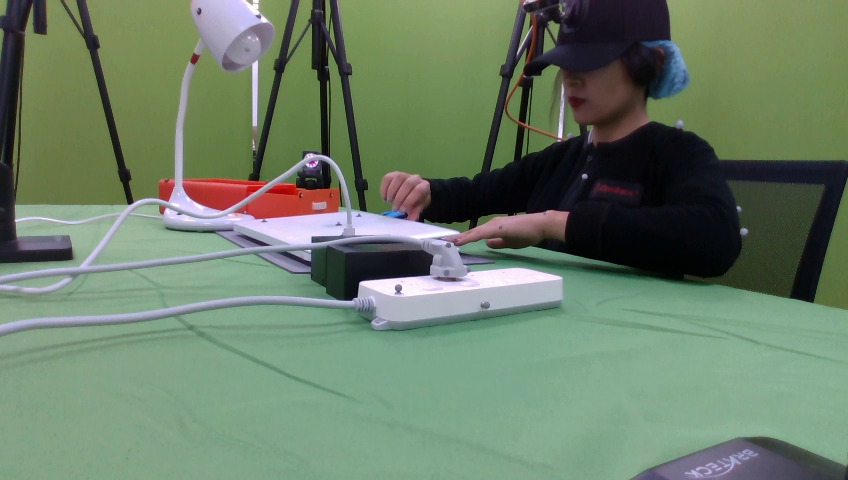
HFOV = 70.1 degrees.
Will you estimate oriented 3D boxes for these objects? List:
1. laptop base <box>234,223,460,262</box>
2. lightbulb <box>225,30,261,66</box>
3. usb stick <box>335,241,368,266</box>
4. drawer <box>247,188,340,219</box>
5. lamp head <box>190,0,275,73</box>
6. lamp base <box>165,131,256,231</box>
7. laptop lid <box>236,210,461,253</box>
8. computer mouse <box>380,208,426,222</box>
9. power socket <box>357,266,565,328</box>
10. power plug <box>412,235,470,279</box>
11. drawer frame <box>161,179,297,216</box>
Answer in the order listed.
[{"bbox_3d":[-0.136,0.000,0.949,0.237,0.023,0.352,0,8,-33],"label":"laptop base"},{"bbox_3d":[-0.317,-0.335,1.001,0.107,0.059,0.059,47,16,6],"label":"lightbulb"},{"bbox_3d":[-0.094,0.016,0.747,0.021,0.027,0.059,-4,6,-37],"label":"usb stick"},{"bbox_3d":[-0.314,-0.079,1.301,0.211,0.073,0.195,4,8,15],"label":"drawer"},{"bbox_3d":[-0.331,-0.355,1.008,0.123,0.112,0.112,43,15,6],"label":"lamp head"},{"bbox_3d":[-0.407,-0.112,1.119,0.179,0.180,0.161,-1,7,7],"label":"lamp base"},{"bbox_3d":[-0.133,-0.021,0.946,0.243,0.013,0.355,-7,11,-30],"label":"laptop lid"},{"bbox_3d":[-0.057,-0.045,1.267,0.118,0.041,0.062,-6,12,-28],"label":"computer mouse"},{"bbox_3d":[0.041,0.049,0.572,0.228,0.032,0.072,-3,8,-35],"label":"power socket"},{"bbox_3d":[0.017,0.023,0.588,0.035,0.052,0.072,-1,8,-24],"label":"power plug"},{"bbox_3d":[-0.421,-0.089,1.329,0.213,0.082,0.202,4,8,16],"label":"drawer frame"}]
